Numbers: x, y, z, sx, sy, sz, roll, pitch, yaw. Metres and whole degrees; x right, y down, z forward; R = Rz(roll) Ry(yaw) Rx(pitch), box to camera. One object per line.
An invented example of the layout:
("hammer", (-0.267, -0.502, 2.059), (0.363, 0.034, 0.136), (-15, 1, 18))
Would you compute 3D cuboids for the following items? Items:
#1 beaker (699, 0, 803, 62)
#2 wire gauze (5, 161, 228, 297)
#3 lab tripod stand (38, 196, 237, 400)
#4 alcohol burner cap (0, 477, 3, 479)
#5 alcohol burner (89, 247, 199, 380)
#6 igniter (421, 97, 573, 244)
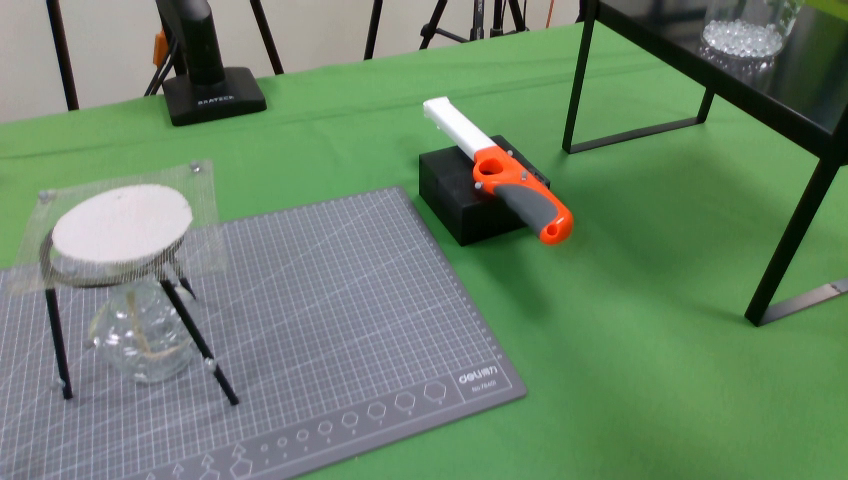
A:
("beaker", (0.276, -0.206, 0.501), (0.073, 0.101, 0.083), (16, 43, 17))
("wire gauze", (-0.199, -0.011, 0.404), (0.125, 0.011, 0.120), (-9, 41, -15))
("lab tripod stand", (-0.202, 0.046, 0.441), (0.148, 0.132, 0.147), (2, 40, -2))
("alcohol burner cap", (-0.285, 0.155, 0.381), (0.034, 0.048, 0.033), (2, 39, -1))
("alcohol burner", (-0.213, 0.049, 0.452), (0.078, 0.120, 0.077), (0, 42, 0))
("igniter", (0.065, -0.080, 0.610), (0.057, 0.025, 0.273), (-18, 42, -17))
